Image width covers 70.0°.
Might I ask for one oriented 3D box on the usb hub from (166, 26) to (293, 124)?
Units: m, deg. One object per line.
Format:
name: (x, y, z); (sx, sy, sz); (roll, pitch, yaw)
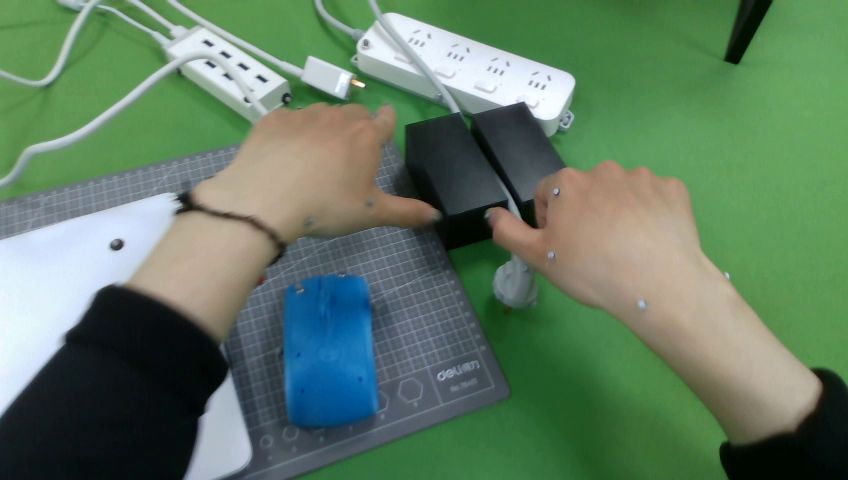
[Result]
usb hub: (-0.188, -0.161, 0.585); (0.124, 0.025, 0.049); (35, 62, 19)

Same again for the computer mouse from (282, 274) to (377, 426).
computer mouse: (-0.068, 0.072, 0.428); (0.063, 0.041, 0.116); (-6, 53, -4)

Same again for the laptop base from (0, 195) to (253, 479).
laptop base: (-0.315, 0.110, 0.408); (0.355, 0.023, 0.233); (-19, 63, -14)

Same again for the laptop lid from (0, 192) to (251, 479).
laptop lid: (-0.314, 0.105, 0.397); (0.357, 0.013, 0.239); (-17, 62, -13)

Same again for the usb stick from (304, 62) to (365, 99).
usb stick: (-0.084, -0.151, 0.582); (0.059, 0.027, 0.021); (14, 12, -11)

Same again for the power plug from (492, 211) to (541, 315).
power plug: (0.075, 0.022, 0.467); (0.035, 0.053, 0.072); (24, 48, -1)

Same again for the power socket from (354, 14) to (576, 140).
power socket: (0.041, -0.162, 0.591); (0.226, 0.033, 0.072); (23, 59, 13)
